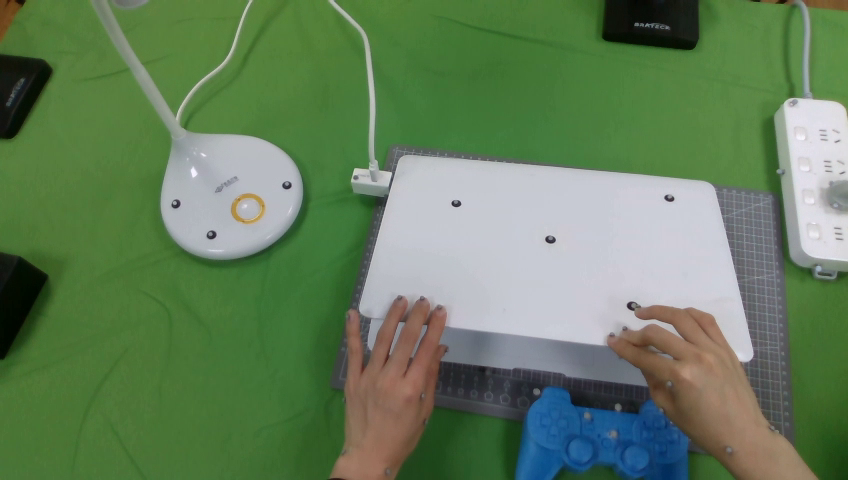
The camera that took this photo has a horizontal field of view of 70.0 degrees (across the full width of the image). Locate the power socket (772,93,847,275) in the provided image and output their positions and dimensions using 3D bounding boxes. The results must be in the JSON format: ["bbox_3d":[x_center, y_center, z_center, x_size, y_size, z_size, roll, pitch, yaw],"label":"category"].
[{"bbox_3d":[0.436,-0.071,0.674,0.072,0.033,0.225,7,65,5],"label":"power socket"}]

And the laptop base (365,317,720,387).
[{"bbox_3d":[0.128,0.023,0.651,0.354,0.023,0.234,6,69,5],"label":"laptop base"}]

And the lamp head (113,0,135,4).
[{"bbox_3d":[-0.199,-0.219,0.352,0.123,0.112,0.112,34,69,-8],"label":"lamp head"}]

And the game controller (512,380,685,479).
[{"bbox_3d":[0.163,0.184,0.558,0.155,0.052,0.096,6,64,5],"label":"game controller"}]

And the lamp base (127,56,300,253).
[{"bbox_3d":[-0.236,-0.097,0.632,0.178,0.182,0.160,34,70,20],"label":"lamp base"}]

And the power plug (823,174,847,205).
[{"bbox_3d":[0.460,-0.048,0.637,0.072,0.053,0.035,17,66,9],"label":"power plug"}]

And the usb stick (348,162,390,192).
[{"bbox_3d":[-0.054,-0.071,0.687,0.059,0.027,0.021,9,61,4],"label":"usb stick"}]

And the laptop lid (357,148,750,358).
[{"bbox_3d":[0.126,-0.002,0.610,0.356,0.013,0.239,7,50,6],"label":"laptop lid"}]
